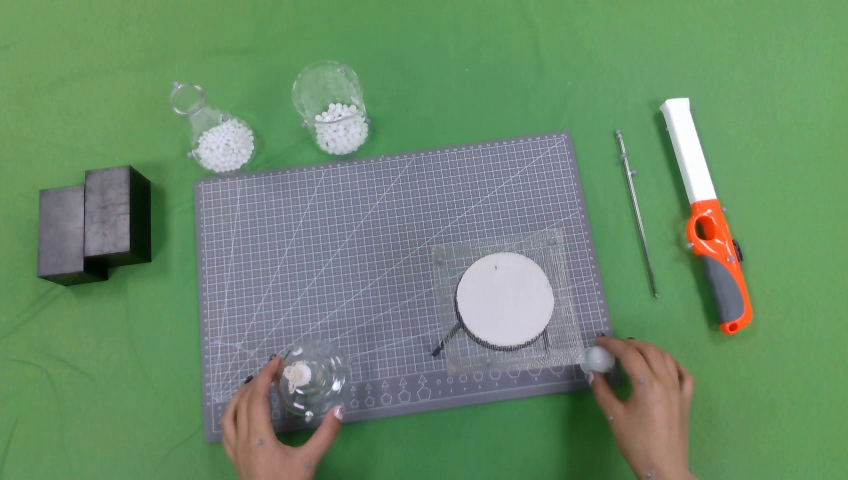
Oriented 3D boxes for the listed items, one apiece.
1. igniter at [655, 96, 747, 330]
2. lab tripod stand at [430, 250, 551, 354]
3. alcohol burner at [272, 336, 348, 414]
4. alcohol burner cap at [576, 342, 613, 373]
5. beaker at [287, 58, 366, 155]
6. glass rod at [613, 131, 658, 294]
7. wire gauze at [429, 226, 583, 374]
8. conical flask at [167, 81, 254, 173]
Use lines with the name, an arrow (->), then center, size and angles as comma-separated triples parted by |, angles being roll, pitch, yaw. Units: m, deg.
igniter -> 0.313, -0.036, 0.687 | 0.057, 0.025, 0.275 | -7, 76, -12
lab tripod stand -> 0.069, 0.072, 0.606 | 0.148, 0.132, 0.147 | 0, 77, 1
alcohol burner -> -0.117, 0.134, 0.604 | 0.078, 0.119, 0.077 | 0, 77, 0
alcohol burner cap -> 0.183, 0.122, 0.639 | 0.034, 0.048, 0.033 | 0, 74, -1
beaker -> -0.103, -0.145, 0.685 | 0.084, 0.101, 0.074 | 27, 78, 7
glass rod -> 0.243, -0.035, 0.697 | 0.008, 0.008, 0.198 | -8, 75, -2
wire gauze -> 0.072, 0.053, 0.541 | 0.125, 0.011, 0.121 | -7, 77, 1
conical flask -> -0.241, -0.129, 0.671 | 0.075, 0.122, 0.075 | 0, 75, 1
